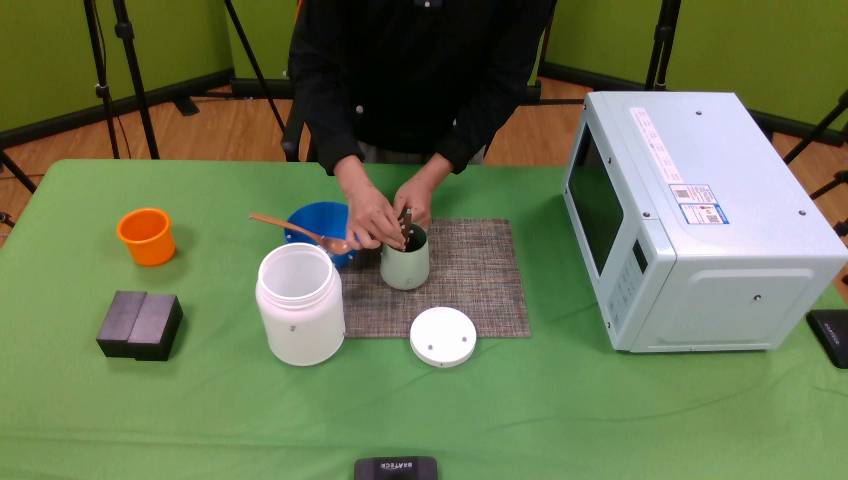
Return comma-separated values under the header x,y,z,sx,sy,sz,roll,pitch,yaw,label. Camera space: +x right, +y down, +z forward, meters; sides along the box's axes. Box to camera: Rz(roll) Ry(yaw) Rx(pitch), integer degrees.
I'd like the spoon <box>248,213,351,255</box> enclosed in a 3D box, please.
x,y,z,sx,sy,sz,roll,pitch,yaw,label
-0.228,-0.015,1.113,0.194,0.022,0.041,23,40,-15,spoon

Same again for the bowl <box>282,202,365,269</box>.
x,y,z,sx,sy,sz,roll,pitch,yaw,label
-0.186,0.006,1.136,0.151,0.077,0.150,3,46,-3,bowl

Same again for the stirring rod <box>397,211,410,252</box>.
x,y,z,sx,sy,sz,roll,pitch,yaw,label
-0.041,0.013,1.063,0.014,0.177,0.006,23,47,11,stirring rod

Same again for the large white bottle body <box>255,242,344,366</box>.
x,y,z,sx,sy,sz,roll,pitch,yaw,label
-0.196,0.102,0.967,0.131,0.185,0.130,2,49,-2,large white bottle body

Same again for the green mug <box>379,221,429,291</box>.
x,y,z,sx,sy,sz,roll,pitch,yaw,label
-0.044,0.020,1.116,0.092,0.105,0.124,-20,50,-22,green mug

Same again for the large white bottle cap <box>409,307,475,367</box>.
x,y,z,sx,sy,sz,roll,pitch,yaw,label
0.031,0.165,1.041,0.115,0.018,0.114,2,47,-2,large white bottle cap

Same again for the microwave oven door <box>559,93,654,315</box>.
x,y,z,sx,sy,sz,roll,pitch,yaw,label
0.327,-0.074,1.123,0.039,0.245,0.353,-1,46,-5,microwave oven door

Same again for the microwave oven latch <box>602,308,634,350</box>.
x,y,z,sx,sy,sz,roll,pitch,yaw,label
0.332,0.153,1.044,0.030,0.029,0.078,-1,45,-5,microwave oven latch

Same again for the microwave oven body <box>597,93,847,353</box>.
x,y,z,sx,sy,sz,roll,pitch,yaw,label
0.475,-0.041,1.110,0.326,0.261,0.438,-1,45,-4,microwave oven body
